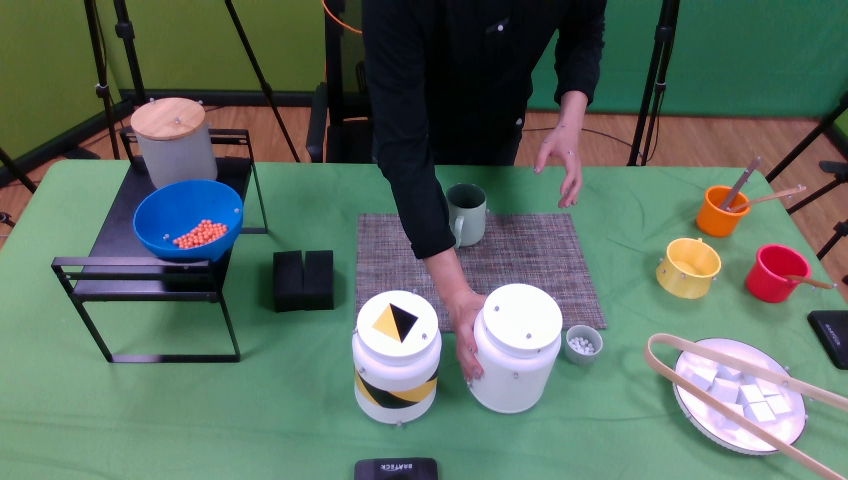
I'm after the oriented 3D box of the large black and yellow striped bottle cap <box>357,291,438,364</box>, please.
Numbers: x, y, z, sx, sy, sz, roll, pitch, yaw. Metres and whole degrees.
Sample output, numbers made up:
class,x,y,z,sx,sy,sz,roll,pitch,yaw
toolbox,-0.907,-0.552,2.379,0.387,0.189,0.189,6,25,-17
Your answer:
class,x,y,z,sx,sy,sz,roll,pitch,yaw
large black and yellow striped bottle cap,-0.037,0.121,0.851,0.115,0.019,0.114,1,46,-1

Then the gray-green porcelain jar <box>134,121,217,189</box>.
class,x,y,z,sx,sy,sz,roll,pitch,yaw
gray-green porcelain jar,-0.397,-0.141,0.980,0.106,0.127,0.105,2,47,-2

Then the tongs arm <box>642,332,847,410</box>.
class,x,y,z,sx,sy,sz,roll,pitch,yaw
tongs arm,0.546,0.227,0.968,0.384,0.026,0.050,22,52,13

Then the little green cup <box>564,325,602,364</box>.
class,x,y,z,sx,sy,sz,roll,pitch,yaw
little green cup,0.269,0.180,1.036,0.061,0.039,0.061,2,45,-1

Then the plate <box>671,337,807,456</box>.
class,x,y,z,sx,sy,sz,roll,pitch,yaw
plate,0.504,0.254,0.984,0.208,0.039,0.206,2,46,-2

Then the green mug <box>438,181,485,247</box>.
class,x,y,z,sx,sy,sz,roll,pitch,yaw
green mug,0.071,-0.039,1.177,0.092,0.105,0.124,12,47,7

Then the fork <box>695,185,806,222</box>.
class,x,y,z,sx,sy,sz,roll,pitch,yaw
fork,0.658,-0.074,1.229,0.207,0.019,0.028,-23,35,37

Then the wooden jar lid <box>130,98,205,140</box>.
class,x,y,z,sx,sy,sz,roll,pitch,yaw
wooden jar lid,-0.393,-0.183,0.934,0.108,0.021,0.107,2,44,-2

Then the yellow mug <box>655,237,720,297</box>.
class,x,y,z,sx,sy,sz,roll,pitch,yaw
yellow mug,0.509,0.041,1.167,0.099,0.064,0.130,24,48,18

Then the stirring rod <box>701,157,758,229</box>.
class,x,y,z,sx,sy,sz,roll,pitch,yaw
stirring rod,0.634,-0.097,1.257,0.014,0.006,0.176,38,97,29

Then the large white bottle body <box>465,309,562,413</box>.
class,x,y,z,sx,sy,sz,roll,pitch,yaw
large white bottle body,0.136,0.168,0.932,0.131,0.185,0.130,2,48,-2

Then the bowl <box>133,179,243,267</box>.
class,x,y,z,sx,sy,sz,roll,pitch,yaw
bowl,-0.339,-0.013,0.895,0.151,0.077,0.150,2,46,-2

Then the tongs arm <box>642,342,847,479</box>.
class,x,y,z,sx,sy,sz,roll,pitch,yaw
tongs arm,0.504,0.279,0.918,0.386,0.028,0.028,33,59,22

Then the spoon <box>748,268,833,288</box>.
class,x,y,z,sx,sy,sz,roll,pitch,yaw
spoon,0.660,0.068,1.098,0.041,0.193,0.021,-4,91,-6

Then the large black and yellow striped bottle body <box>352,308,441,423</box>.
class,x,y,z,sx,sy,sz,roll,pitch,yaw
large black and yellow striped bottle body,-0.042,0.178,0.913,0.131,0.185,0.130,2,46,-2

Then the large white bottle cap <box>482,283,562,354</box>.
class,x,y,z,sx,sy,sz,roll,pitch,yaw
large white bottle cap,0.141,0.111,0.869,0.115,0.018,0.114,3,48,-3
